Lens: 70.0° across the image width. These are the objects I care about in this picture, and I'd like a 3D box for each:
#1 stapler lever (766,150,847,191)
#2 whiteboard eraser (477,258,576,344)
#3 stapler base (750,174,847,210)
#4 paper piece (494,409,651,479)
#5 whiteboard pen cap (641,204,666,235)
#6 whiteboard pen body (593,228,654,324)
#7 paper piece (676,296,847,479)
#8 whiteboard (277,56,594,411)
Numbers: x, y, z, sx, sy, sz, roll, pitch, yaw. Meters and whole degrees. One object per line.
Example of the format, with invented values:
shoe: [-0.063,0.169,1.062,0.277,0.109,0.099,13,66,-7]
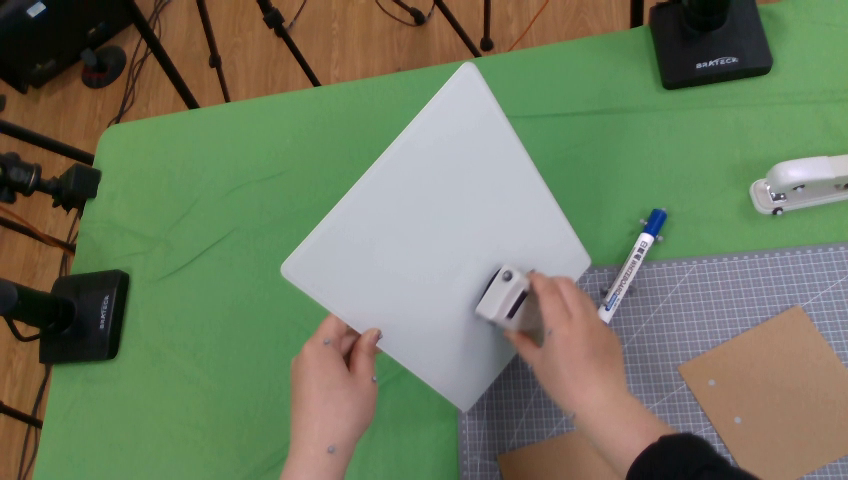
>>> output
stapler lever: [0.407,-0.073,0.606,0.118,0.040,0.026,-12,69,10]
whiteboard eraser: [0.100,0.061,0.596,0.055,0.114,0.041,-55,43,5]
stapler base: [0.412,-0.064,0.628,0.130,0.024,0.041,-12,70,9]
paper piece: [0.153,0.249,0.584,0.135,0.004,0.134,-20,67,6]
whiteboard pen cap: [0.248,-0.021,0.656,0.018,0.018,0.033,25,78,23]
whiteboard pen body: [0.218,0.027,0.647,0.017,0.017,0.140,27,78,23]
paper piece: [0.336,0.144,0.574,0.136,0.009,0.137,-29,67,8]
whiteboard: [0.003,-0.007,0.596,0.217,0.309,0.142,-48,44,-5]
